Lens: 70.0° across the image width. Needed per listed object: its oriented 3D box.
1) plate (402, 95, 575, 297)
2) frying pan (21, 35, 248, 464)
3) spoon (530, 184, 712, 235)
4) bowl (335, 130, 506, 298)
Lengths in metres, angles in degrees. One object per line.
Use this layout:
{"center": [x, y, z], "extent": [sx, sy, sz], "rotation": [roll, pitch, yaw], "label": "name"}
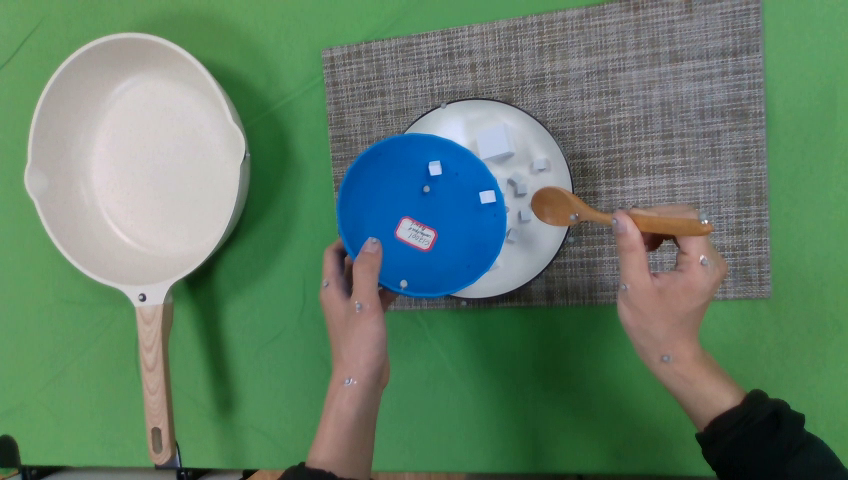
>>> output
{"center": [0.053, -0.045, 0.638], "extent": [0.207, 0.039, 0.208], "rotation": [1, 95, 15], "label": "plate"}
{"center": [-0.326, 0.015, 0.715], "extent": [0.306, 0.103, 0.486], "rotation": [-6, 85, 16], "label": "frying pan"}
{"center": [0.149, -0.020, 0.492], "extent": [0.021, 0.192, 0.042], "rotation": [-25, 109, -18], "label": "spoon"}
{"center": [-0.008, -0.015, 0.552], "extent": [0.152, 0.077, 0.150], "rotation": [3, 74, -11], "label": "bowl"}
